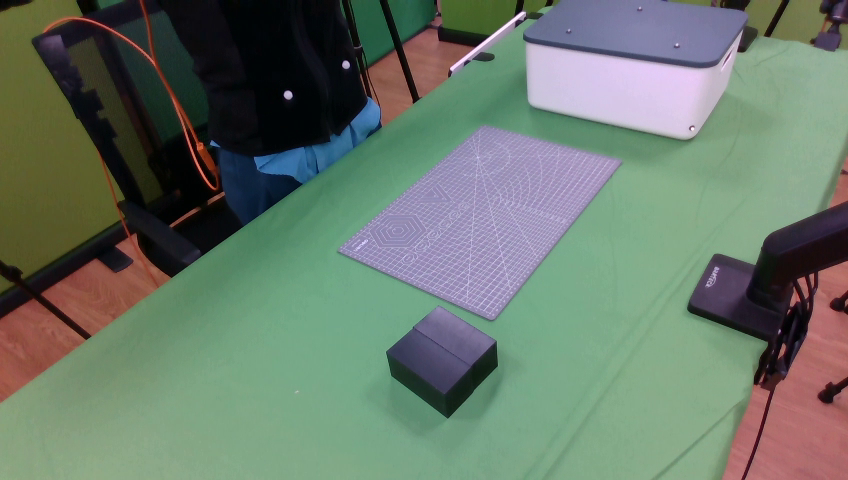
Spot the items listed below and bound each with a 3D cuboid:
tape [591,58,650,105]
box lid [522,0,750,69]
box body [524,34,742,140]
[{"bbox_3d":[0.407,-0.331,1.259,0.117,0.053,0.116,-2,40,2],"label":"tape"},{"bbox_3d":[0.405,-0.409,1.163,0.369,0.015,0.264,20,47,29],"label":"box lid"},{"bbox_3d":[0.412,-0.354,1.212,0.361,0.161,0.254,20,48,29],"label":"box body"}]
